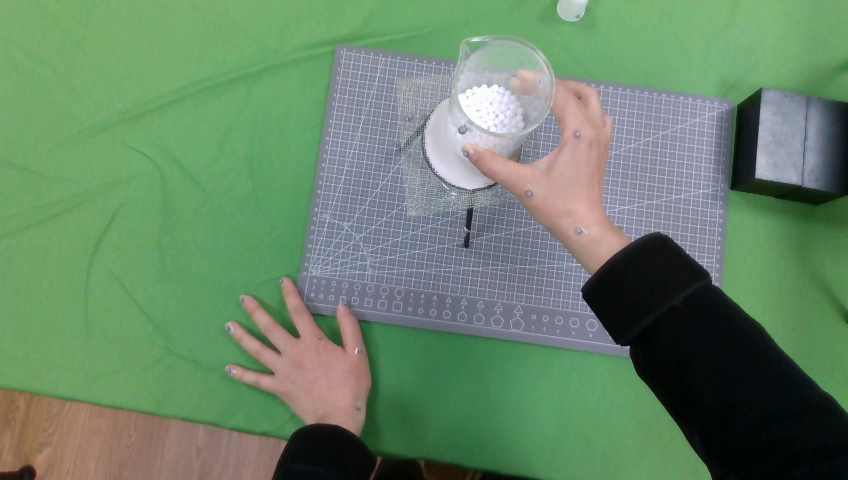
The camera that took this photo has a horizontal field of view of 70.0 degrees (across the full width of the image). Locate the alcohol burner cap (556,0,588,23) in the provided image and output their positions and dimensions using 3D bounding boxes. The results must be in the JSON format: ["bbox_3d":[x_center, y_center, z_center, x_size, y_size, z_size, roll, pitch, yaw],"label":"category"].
[{"bbox_3d":[0.168,-0.268,0.675,0.034,0.048,0.034,0,82,1],"label":"alcohol burner cap"}]

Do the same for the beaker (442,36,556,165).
[{"bbox_3d":[0.051,-0.105,0.476,0.074,0.100,0.084,-38,87,-7],"label":"beaker"}]

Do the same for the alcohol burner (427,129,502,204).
[{"bbox_3d":[0.042,-0.078,0.605,0.078,0.119,0.077,0,79,-1],"label":"alcohol burner"}]

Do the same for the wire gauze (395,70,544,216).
[{"bbox_3d":[0.038,-0.087,0.528,0.121,0.011,0.124,-5,84,-4],"label":"wire gauze"}]

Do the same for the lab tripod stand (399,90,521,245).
[{"bbox_3d":[0.041,-0.075,0.595,0.148,0.131,0.148,0,83,-3],"label":"lab tripod stand"}]
